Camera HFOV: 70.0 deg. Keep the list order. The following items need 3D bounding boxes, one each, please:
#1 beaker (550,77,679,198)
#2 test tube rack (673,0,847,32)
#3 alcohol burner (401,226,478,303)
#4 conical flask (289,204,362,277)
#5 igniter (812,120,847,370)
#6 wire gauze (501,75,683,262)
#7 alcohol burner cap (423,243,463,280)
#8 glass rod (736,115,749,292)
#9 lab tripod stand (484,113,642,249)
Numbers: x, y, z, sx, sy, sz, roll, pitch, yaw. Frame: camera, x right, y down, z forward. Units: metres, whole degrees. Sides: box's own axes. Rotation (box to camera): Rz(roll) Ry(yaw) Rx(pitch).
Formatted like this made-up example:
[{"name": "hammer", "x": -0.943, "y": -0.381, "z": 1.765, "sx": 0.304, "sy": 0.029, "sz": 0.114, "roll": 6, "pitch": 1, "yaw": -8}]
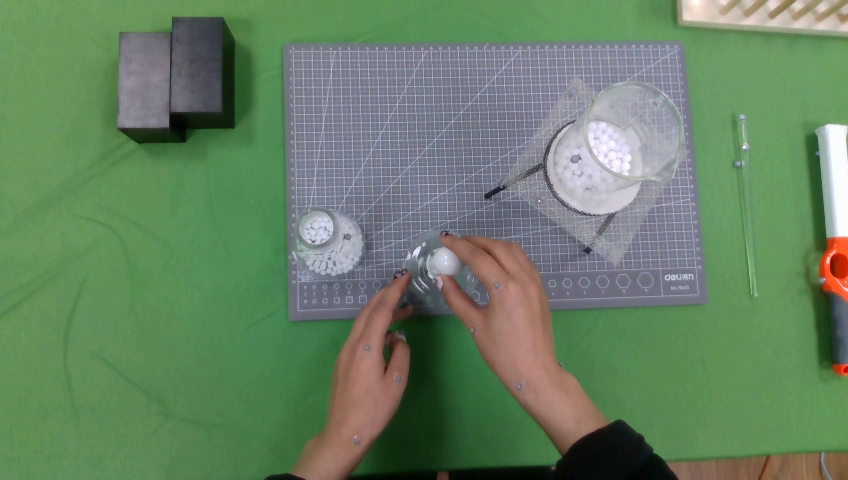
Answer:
[{"name": "beaker", "x": 0.148, "y": -0.074, "z": 0.485, "sx": 0.074, "sy": 0.100, "sz": 0.084, "roll": -41, "pitch": 88, "yaw": -7}, {"name": "test tube rack", "x": 0.412, "y": -0.286, "z": 0.670, "sx": 0.243, "sy": 0.085, "sz": 0.066, "roll": 2, "pitch": 83, "yaw": -4}, {"name": "alcohol burner", "x": 0.016, "y": 0.022, "z": 0.589, "sx": 0.078, "sy": 0.119, "sz": 0.077, "roll": 0, "pitch": 83, "yaw": -2}, {"name": "conical flask", "x": -0.098, "y": -0.005, "z": 0.579, "sx": 0.075, "sy": 0.122, "sz": 0.075, "roll": 1, "pitch": 83, "yaw": -4}, {"name": "igniter", "x": 0.458, "y": 0.003, "z": 0.671, "sx": 0.057, "sy": 0.025, "sz": 0.275, "roll": 2, "pitch": 83, "yaw": -15}, {"name": "wire gauze", "x": 0.148, "y": -0.065, "z": 0.532, "sx": 0.125, "sy": 0.011, "sz": 0.121, "roll": 35, "pitch": 85, "yaw": -1}, {"name": "alcohol burner cap", "x": 0.019, "y": 0.018, "z": 0.554, "sx": 0.034, "sy": 0.048, "sz": 0.033, "roll": 2, "pitch": 80, "yaw": -11}, {"name": "glass rod", "x": 0.356, "y": -0.041, "z": 0.677, "sx": 0.008, "sy": 0.008, "sz": 0.199, "roll": 0, "pitch": 86, "yaw": -5}, {"name": "lab tripod stand", "x": 0.141, "y": -0.059, "z": 0.598, "sx": 0.148, "sy": 0.131, "sz": 0.148, "roll": 0, "pitch": 85, "yaw": -3}]
